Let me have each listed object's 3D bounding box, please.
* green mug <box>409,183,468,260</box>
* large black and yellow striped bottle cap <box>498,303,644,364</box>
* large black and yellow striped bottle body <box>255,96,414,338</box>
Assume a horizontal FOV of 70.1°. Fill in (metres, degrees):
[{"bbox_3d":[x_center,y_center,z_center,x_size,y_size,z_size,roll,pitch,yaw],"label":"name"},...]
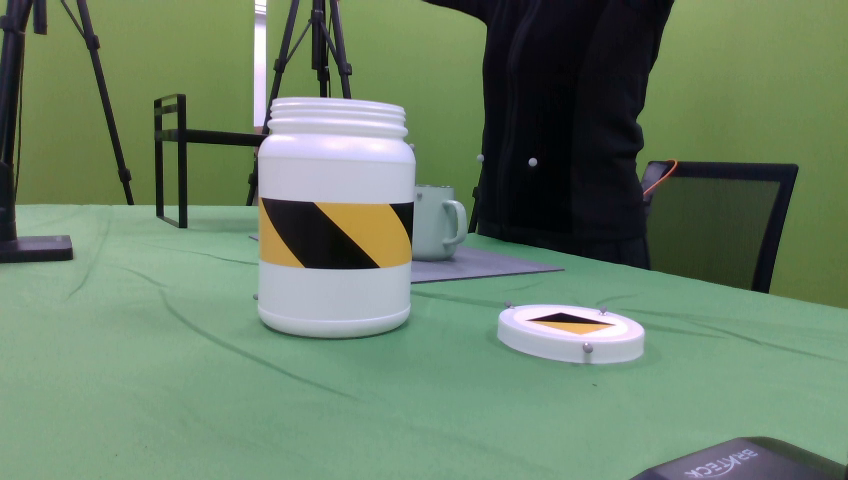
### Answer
[{"bbox_3d":[0.014,-0.026,0.858,0.093,0.105,0.124,-4,9,-42],"label":"green mug"},{"bbox_3d":[0.117,0.072,0.486,0.115,0.019,0.115,1,8,0],"label":"large black and yellow striped bottle cap"},{"bbox_3d":[-0.074,-0.022,0.508,0.131,0.184,0.130,2,7,0],"label":"large black and yellow striped bottle body"}]
